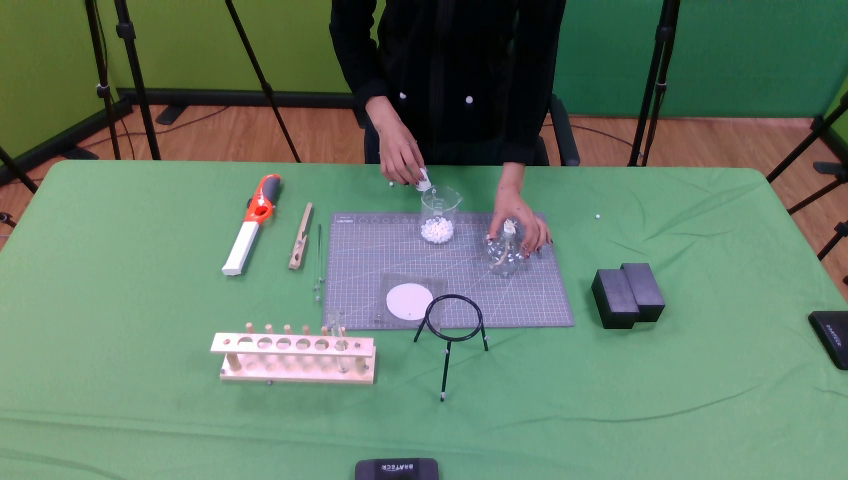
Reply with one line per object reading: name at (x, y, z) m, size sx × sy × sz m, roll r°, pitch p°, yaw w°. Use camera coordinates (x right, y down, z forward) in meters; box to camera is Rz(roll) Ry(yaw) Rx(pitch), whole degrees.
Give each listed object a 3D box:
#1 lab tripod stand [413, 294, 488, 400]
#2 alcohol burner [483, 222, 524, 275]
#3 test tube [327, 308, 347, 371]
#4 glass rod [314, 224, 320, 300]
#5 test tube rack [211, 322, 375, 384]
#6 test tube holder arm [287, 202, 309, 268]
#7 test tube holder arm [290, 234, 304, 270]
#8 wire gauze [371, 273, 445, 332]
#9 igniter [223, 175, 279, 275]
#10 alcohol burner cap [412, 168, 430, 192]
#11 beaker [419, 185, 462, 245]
lab tripod stand at (0.044, 0.159, 0.972) m, size 0.148 × 0.132 × 0.147 m, roll 2°, pitch 44°, yaw -2°
alcohol burner at (0.152, 0.009, 1.135) m, size 0.078 × 0.119 × 0.077 m, roll 4°, pitch 47°, yaw -4°
test tube at (-0.132, 0.155, 0.926) m, size 0.017 × 0.151 × 0.017 m, roll 0°, pitch 45°, yaw 0°
glass rod at (-0.204, 0.038, 1.156) m, size 0.008 × 0.008 × 0.198 m, roll -2°, pitch 44°, yaw -6°
test tube rack at (-0.203, 0.176, 0.969) m, size 0.242 × 0.085 × 0.066 m, roll 3°, pitch 46°, yaw -2°
test tube holder arm at (-0.247, -0.013, 1.193) m, size 0.013 × 0.015 × 0.177 m, roll 29°, pitch 39°, yaw -26°
test tube holder arm at (-0.243, 0.021, 1.164) m, size 0.010 × 0.015 × 0.087 m, roll 29°, pitch 39°, yaw -26°
wire gauze at (-0.028, 0.108, 1.100) m, size 0.125 × 0.011 × 0.121 m, roll 7°, pitch 45°, yaw 4°
igniter at (-0.341, -0.039, 1.206) m, size 0.057 × 0.025 × 0.275 m, roll -1°, pitch 45°, yaw 9°
alcohol burner cap at (-0.009, -0.125, 1.234) m, size 0.034 × 0.048 × 0.033 m, roll -10°, pitch 45°, yaw 10°
beaker at (0.029, -0.047, 1.191) m, size 0.084 × 0.101 × 0.073 m, roll -5°, pitch 47°, yaw -10°
